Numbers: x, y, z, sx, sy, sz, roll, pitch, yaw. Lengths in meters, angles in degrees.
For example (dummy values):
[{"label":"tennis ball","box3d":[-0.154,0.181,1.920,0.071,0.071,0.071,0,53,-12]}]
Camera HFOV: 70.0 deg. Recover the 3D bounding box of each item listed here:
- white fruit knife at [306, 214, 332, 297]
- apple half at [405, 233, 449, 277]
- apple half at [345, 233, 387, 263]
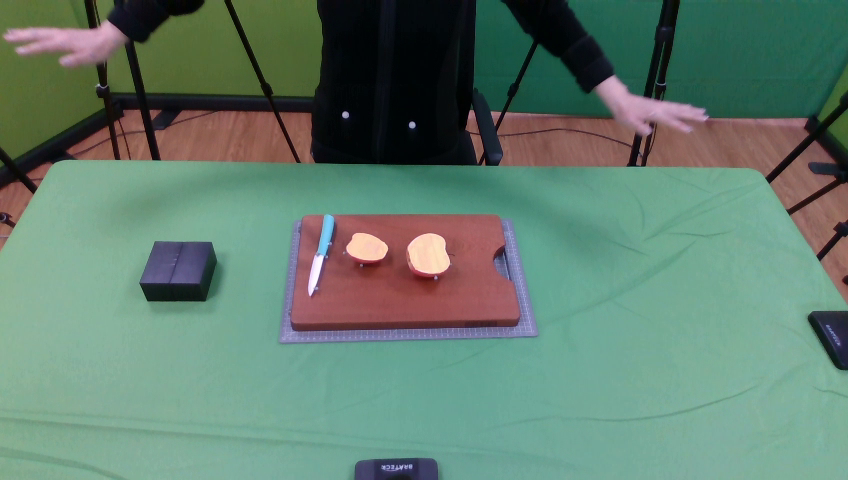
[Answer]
[{"label":"white fruit knife","box3d":[-0.195,0.025,1.125,0.027,0.016,0.206,-16,43,21]},{"label":"apple half","box3d":[0.003,0.033,1.103,0.075,0.053,0.080,-12,72,-18]},{"label":"apple half","box3d":[-0.109,0.023,1.121,0.081,0.033,0.081,13,36,-10]}]
